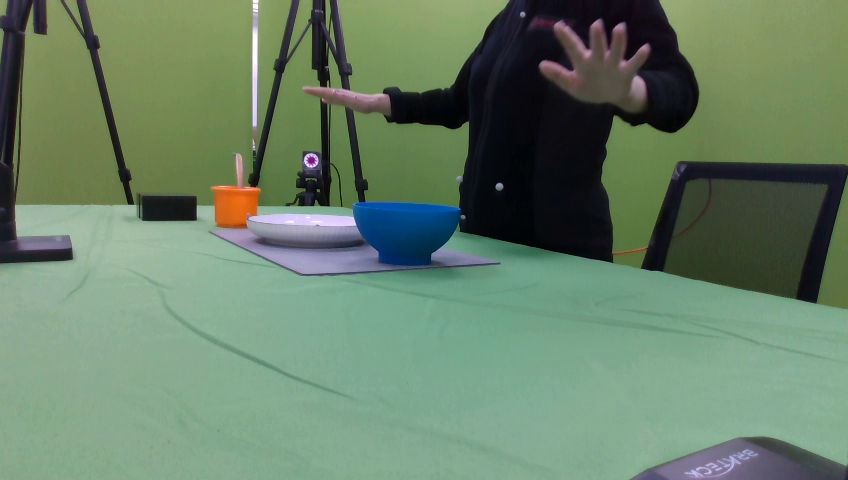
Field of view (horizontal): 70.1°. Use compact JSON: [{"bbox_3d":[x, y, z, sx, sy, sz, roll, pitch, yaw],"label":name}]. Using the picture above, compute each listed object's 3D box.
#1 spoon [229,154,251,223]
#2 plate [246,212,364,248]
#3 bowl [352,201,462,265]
[{"bbox_3d":[-0.367,-0.106,1.208,0.042,0.193,0.021,2,-37,-20],"label":"spoon"},{"bbox_3d":[-0.185,-0.017,0.995,0.209,0.038,0.209,3,8,0],"label":"plate"},{"bbox_3d":[-0.025,-0.010,0.831,0.151,0.077,0.151,3,7,0],"label":"bowl"}]
